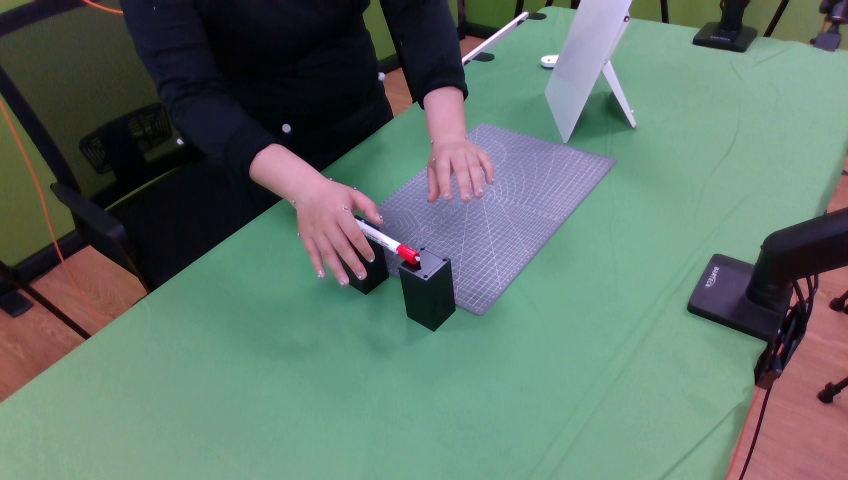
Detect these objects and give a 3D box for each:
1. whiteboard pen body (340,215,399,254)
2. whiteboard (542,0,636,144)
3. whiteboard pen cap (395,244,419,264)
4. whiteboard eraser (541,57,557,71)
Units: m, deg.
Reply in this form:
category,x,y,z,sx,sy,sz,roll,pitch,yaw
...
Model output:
category,x,y,z,sx,sy,sz,roll,pitch,yaw
whiteboard pen body,-0.067,-0.004,0.835,0.139,0.017,0.017,28,52,33
whiteboard,0.366,-0.351,1.160,0.144,0.305,0.216,10,39,-10
whiteboard pen cap,-0.023,0.018,0.800,0.032,0.017,0.017,27,51,36
whiteboard eraser,0.323,-0.412,1.407,0.101,0.019,0.041,1,41,11
